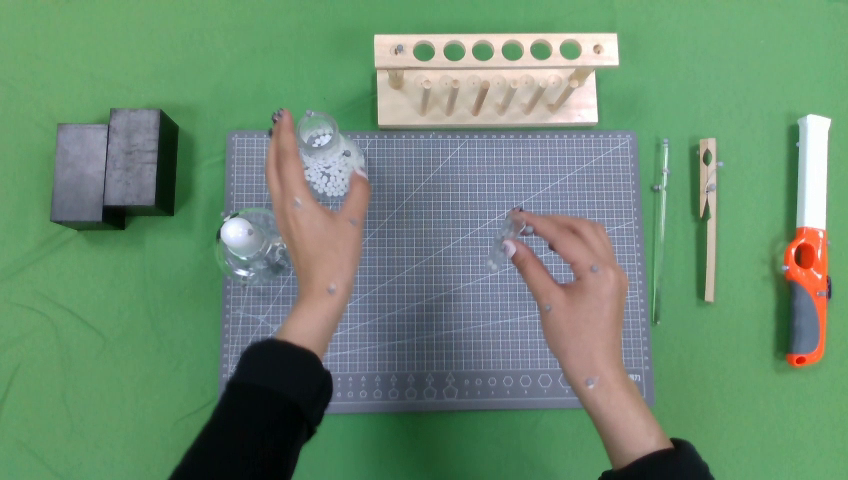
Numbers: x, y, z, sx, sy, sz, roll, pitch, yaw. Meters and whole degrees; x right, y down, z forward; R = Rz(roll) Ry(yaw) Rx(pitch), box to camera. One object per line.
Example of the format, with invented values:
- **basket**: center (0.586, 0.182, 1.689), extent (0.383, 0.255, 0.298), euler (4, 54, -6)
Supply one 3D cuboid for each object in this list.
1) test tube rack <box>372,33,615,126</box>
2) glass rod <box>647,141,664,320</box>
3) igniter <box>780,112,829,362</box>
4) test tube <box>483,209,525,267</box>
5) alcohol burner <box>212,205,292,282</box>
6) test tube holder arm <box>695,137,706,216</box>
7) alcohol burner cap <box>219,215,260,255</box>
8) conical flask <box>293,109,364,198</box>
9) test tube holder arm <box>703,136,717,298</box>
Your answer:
- **test tube rack**: center (0.068, -0.167, 0.638), extent (0.242, 0.085, 0.066), euler (-1, 82, -3)
- **glass rod**: center (0.254, -0.012, 0.662), extent (0.008, 0.008, 0.199), euler (6, 83, -2)
- **igniter**: center (0.416, -0.005, 0.661), extent (0.057, 0.025, 0.275), euler (9, 82, -11)
- **test tube**: center (0.066, 0.001, 0.522), extent (0.017, 0.151, 0.017), euler (0, 76, -1)
- **alcohol burner**: center (-0.170, 0.000, 0.585), extent (0.078, 0.119, 0.077), euler (0, 80, 0)
- **test tube holder arm**: center (0.307, -0.070, 0.671), extent (0.010, 0.015, 0.087), euler (-3, 81, 33)
- **alcohol burner cap**: center (-0.169, -0.007, 0.550), extent (0.034, 0.048, 0.033), euler (2, 77, -6)
- **conical flask**: center (-0.100, -0.089, 0.597), extent (0.075, 0.122, 0.075), euler (0, 81, -2)
- **test tube holder arm**: center (0.311, -0.026, 0.662), extent (0.013, 0.015, 0.178), euler (-5, 80, 33)
